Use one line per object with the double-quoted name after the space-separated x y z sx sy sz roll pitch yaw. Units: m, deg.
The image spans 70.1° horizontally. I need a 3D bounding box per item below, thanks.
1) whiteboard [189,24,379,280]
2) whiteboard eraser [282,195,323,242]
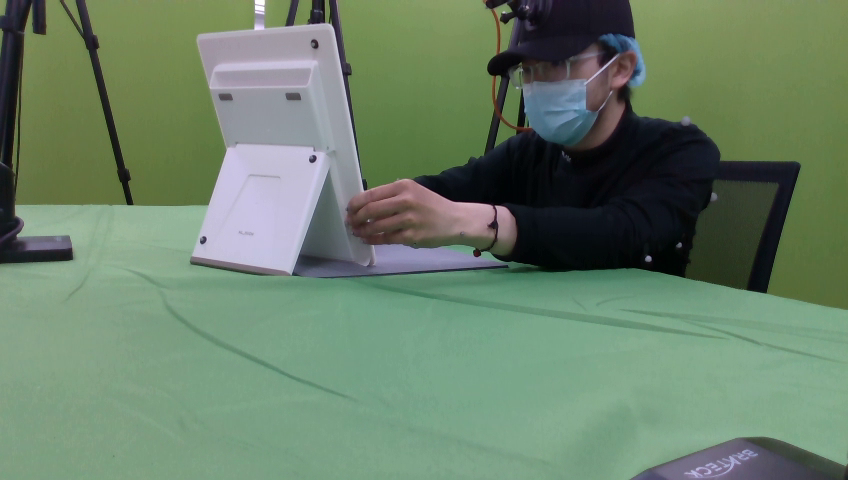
-0.207 -0.085 0.729 0.216 0.305 0.144 7 30 30 "whiteboard"
-0.179 -0.028 0.874 0.042 0.055 0.112 -29 4 -18 "whiteboard eraser"
